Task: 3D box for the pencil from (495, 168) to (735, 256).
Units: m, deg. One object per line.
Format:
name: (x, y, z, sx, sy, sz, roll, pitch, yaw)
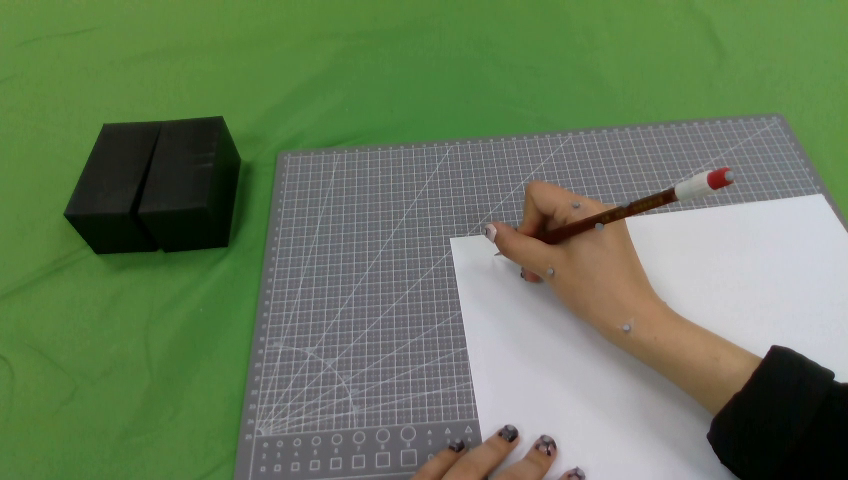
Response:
pencil: (0.102, -0.010, 0.377, 0.012, 0.193, 0.012, 8, 73, -29)
